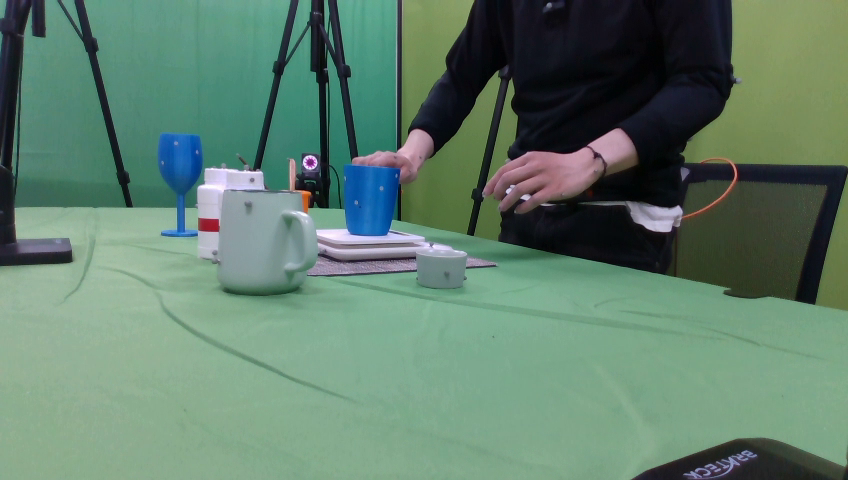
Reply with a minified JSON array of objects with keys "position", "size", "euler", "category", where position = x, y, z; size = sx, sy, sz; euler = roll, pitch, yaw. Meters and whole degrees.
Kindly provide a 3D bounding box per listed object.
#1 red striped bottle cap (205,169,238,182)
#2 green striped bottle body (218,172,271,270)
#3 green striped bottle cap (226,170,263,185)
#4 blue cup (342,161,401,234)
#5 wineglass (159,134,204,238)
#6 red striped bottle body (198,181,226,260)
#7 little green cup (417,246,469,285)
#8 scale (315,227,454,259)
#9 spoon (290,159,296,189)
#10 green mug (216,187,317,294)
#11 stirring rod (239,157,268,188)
[{"position":[-0.274,-0.088,0.821],"size":[0.044,0.017,0.044],"euler":[-1,6,0],"category":"red striped bottle cap"},{"position":[-0.223,-0.025,0.755],"size":[0.063,0.119,0.063],"euler":[1,7,0],"category":"green striped bottle body"},{"position":[-0.222,-0.077,0.748],"size":[0.044,0.020,0.044],"euler":[1,7,0],"category":"green striped bottle cap"},{"position":[-0.079,-0.062,0.882],"size":[0.093,0.100,0.092],"euler":[4,6,0],"category":"blue cup"},{"position":[-0.415,-0.093,1.040],"size":[0.074,0.172,0.073],"euler":[2,7,0],"category":"wineglass"},{"position":[-0.275,-0.036,0.827],"size":[0.063,0.119,0.063],"euler":[1,7,0],"category":"red striped bottle body"},{"position":[0.021,0.029,0.701],"size":[0.061,0.038,0.061],"euler":[1,6,0],"category":"little green cup"},{"position":[-0.066,0.001,0.906],"size":[0.202,0.031,0.148],"euler":[-2,8,-31],"category":"scale"},{"position":[-0.273,-0.102,1.252],"size":[0.042,0.193,0.021],"euler":[7,-39,-18],"category":"spoon"},{"position":[-0.157,0.000,0.629],"size":[0.124,0.105,0.093],"euler":[7,9,37],"category":"green mug"},{"position":[-0.309,-0.098,1.209],"size":[0.006,0.177,0.014],"euler":[-39,29,-5],"category":"stirring rod"}]
